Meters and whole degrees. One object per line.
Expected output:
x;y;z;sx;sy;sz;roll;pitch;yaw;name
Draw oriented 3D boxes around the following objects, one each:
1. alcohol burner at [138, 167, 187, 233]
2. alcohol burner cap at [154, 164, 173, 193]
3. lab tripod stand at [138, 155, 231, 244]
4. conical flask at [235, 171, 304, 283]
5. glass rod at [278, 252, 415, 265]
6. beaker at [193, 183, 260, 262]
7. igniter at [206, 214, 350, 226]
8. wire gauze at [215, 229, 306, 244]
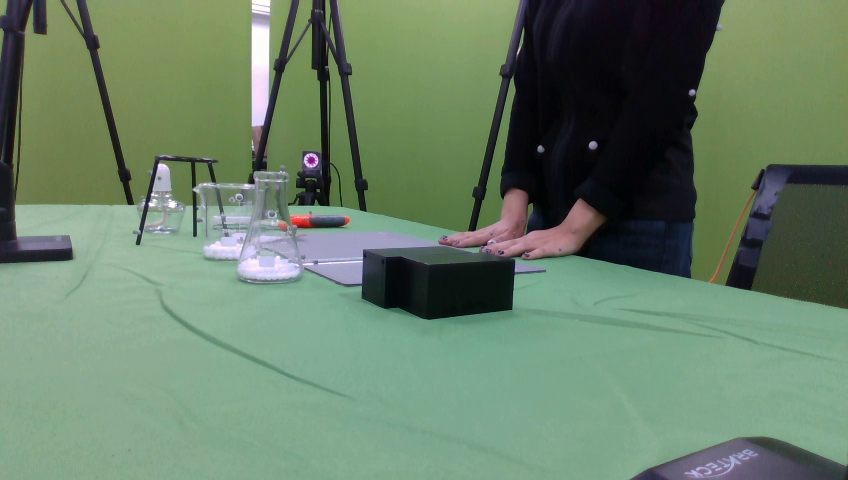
-0.450;-0.070;1.044;0.078;0.119;0.078;4;7;0;alcohol burner
-0.450;-0.106;1.038;0.034;0.048;0.034;2;13;0;alcohol burner cap
-0.358;-0.062;0.927;0.148;0.131;0.148;4;6;0;lab tripod stand
-0.172;-0.016;0.677;0.075;0.122;0.075;2;7;0;conical flask
-0.097;0.024;0.805;0.201;0.008;0.008;-3;8;-33;glass rod
-0.262;-0.024;0.806;0.084;0.100;0.073;-3;9;-30;beaker
-0.279;-0.038;1.185;0.278;0.025;0.057;-2;-1;-30;igniter
-0.273;-0.009;1.013;0.122;0.011;0.124;-2;9;-33;wire gauze
